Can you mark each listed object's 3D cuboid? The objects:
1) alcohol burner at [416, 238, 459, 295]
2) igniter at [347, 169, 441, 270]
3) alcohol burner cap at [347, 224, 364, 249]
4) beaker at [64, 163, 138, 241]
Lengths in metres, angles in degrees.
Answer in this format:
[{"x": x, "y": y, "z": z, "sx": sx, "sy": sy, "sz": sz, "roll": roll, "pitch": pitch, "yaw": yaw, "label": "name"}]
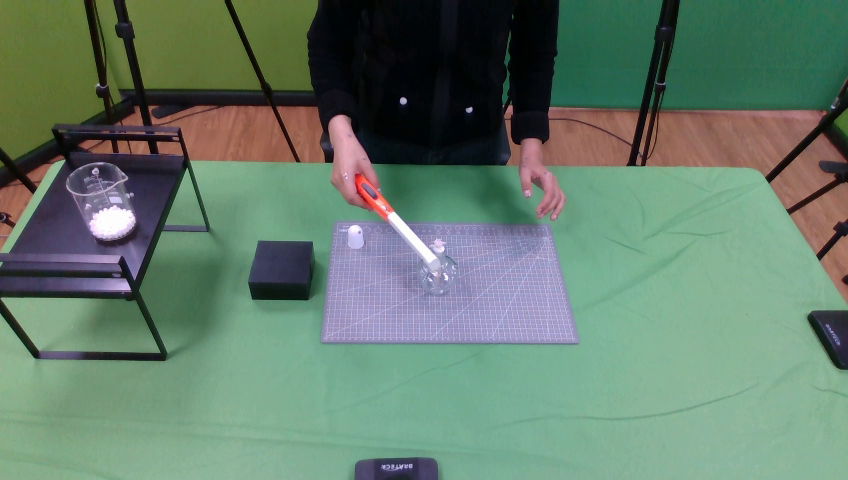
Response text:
[{"x": 0.024, "y": 0.042, "z": 1.088, "sx": 0.078, "sy": 0.120, "sz": 0.077, "roll": 0, "pitch": 46, "yaw": 0, "label": "alcohol burner"}, {"x": -0.058, "y": -0.043, "z": 1.034, "sx": 0.025, "sy": 0.057, "sz": 0.275, "roll": -36, "pitch": 54, "yaw": -11, "label": "igniter"}, {"x": -0.134, "y": -0.010, "z": 1.177, "sx": 0.034, "sy": 0.048, "sz": 0.033, "roll": 2, "pitch": 47, "yaw": -2, "label": "alcohol burner cap"}, {"x": -0.477, "y": -0.055, "z": 0.910, "sx": 0.084, "sy": 0.101, "sz": 0.073, "roll": -9, "pitch": 48, "yaw": -13, "label": "beaker"}]
